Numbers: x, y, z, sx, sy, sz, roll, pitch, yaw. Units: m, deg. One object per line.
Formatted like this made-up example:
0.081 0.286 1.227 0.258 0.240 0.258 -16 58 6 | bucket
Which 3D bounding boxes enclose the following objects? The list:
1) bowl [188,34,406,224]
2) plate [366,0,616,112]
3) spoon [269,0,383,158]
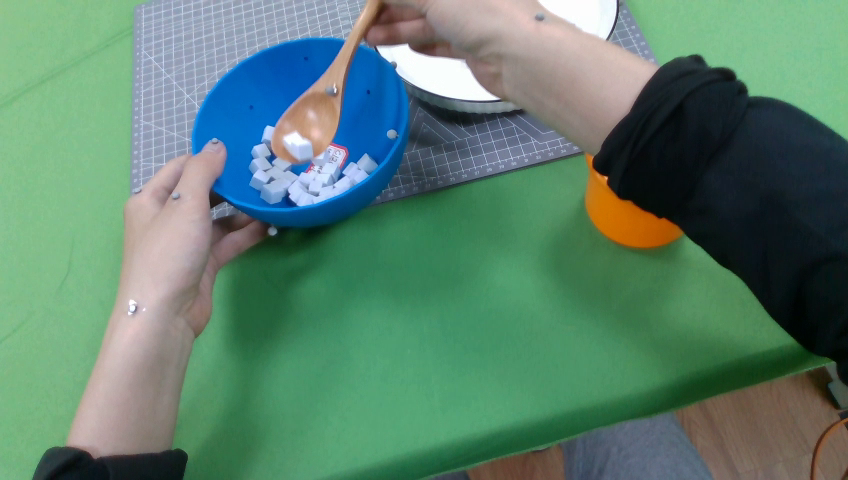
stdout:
-0.081 -0.067 0.442 0.151 0.077 0.150 -3 62 7 | bowl
0.055 -0.190 0.521 0.209 0.038 0.207 -3 63 6 | plate
-0.042 -0.138 0.396 0.041 0.022 0.194 35 98 15 | spoon
